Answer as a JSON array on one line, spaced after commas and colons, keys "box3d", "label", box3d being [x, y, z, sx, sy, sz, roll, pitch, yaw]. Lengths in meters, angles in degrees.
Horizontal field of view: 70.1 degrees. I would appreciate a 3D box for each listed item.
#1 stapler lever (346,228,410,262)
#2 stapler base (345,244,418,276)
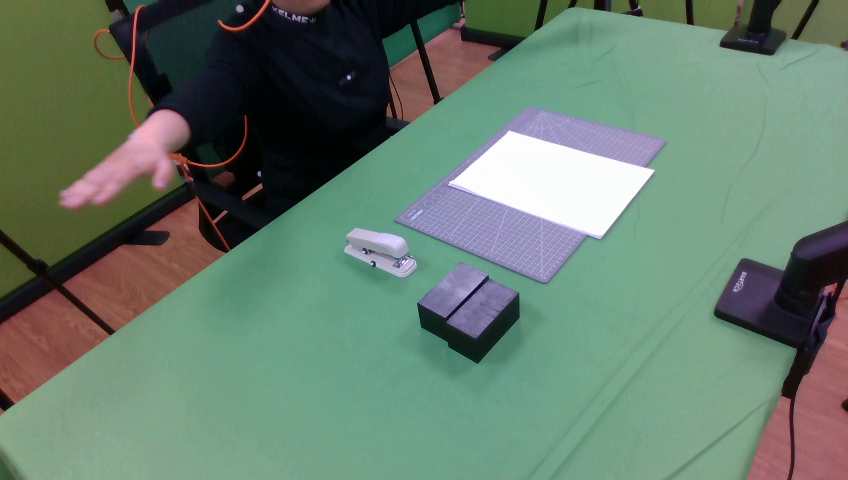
[{"box3d": [-0.074, 0.001, 0.949, 0.117, 0.040, 0.027, 20, 46, 30], "label": "stapler lever"}, {"box3d": [-0.070, 0.020, 0.964, 0.129, 0.024, 0.041, 19, 45, 31], "label": "stapler base"}]
